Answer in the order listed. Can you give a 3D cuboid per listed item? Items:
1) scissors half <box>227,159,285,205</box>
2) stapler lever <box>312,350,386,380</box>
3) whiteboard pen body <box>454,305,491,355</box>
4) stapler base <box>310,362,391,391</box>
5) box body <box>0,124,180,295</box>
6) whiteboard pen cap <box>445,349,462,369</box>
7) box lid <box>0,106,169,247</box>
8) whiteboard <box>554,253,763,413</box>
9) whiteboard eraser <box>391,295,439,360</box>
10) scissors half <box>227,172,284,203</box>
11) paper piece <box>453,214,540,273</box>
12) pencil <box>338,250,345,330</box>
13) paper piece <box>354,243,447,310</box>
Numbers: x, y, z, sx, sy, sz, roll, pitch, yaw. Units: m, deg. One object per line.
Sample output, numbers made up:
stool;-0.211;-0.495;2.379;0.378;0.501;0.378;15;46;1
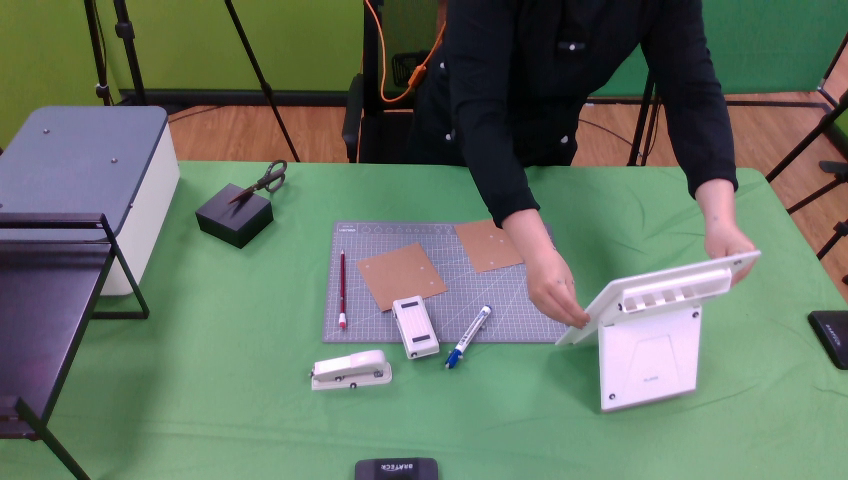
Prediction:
scissors half;-0.336;-0.117;1.218;0.013;0.040;0.175;26;46;13
stapler lever;-0.120;0.199;0.963;0.118;0.040;0.026;-4;44;-8
whiteboard pen body;0.079;0.163;1.046;0.017;0.017;0.140;26;50;19
stapler base;-0.119;0.215;0.980;0.131;0.024;0.041;-5;44;-7
box body;-0.628;-0.075;1.122;0.254;0.161;0.361;1;46;-4
whiteboard pen cap;0.049;0.197;1.011;0.018;0.018;0.033;24;50;18
box lid;-0.624;-0.125;1.067;0.263;0.015;0.369;0;46;-3
whiteboard;0.349;0.156;0.897;0.217;0.306;0.143;-9;67;-7
whiteboard eraser;-0.017;0.150;1.034;0.056;0.042;0.112;-10;48;-15
scissors half;-0.340;-0.101;1.230;0.013;0.040;0.175;22;28;17
paper piece;0.142;0.003;1.212;0.135;0.004;0.135;-11;47;-14
pencil;-0.152;0.085;1.107;0.012;0.012;0.192;-2;44;-7
paper piece;-0.045;0.066;1.137;0.136;0.009;0.137;-13;46;-23
